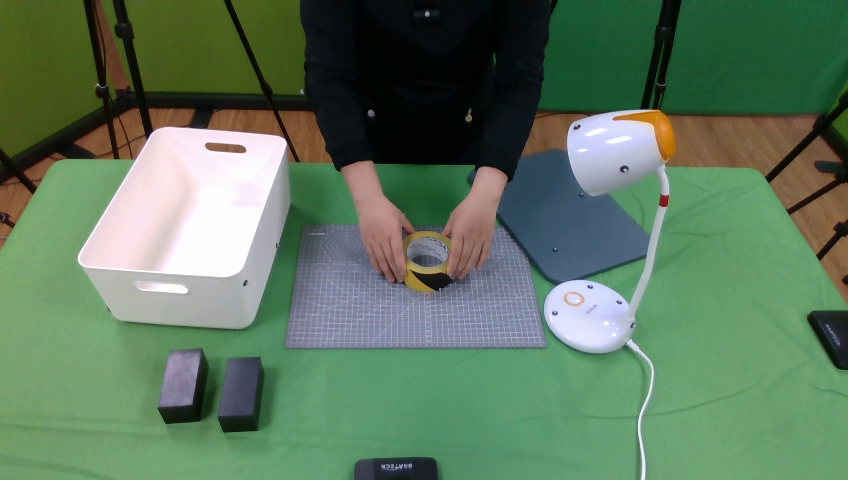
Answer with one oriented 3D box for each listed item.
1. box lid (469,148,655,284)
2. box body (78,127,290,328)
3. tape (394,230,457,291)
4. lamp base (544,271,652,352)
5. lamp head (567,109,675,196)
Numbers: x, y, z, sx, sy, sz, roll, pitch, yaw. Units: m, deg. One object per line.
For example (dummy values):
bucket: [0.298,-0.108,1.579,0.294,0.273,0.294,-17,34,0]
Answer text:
box lid: [0.285,-0.064,1.289,0.263,0.015,0.369,-16,49,-19]
box body: [-0.400,-0.027,1.095,0.254,0.161,0.362,4,46,0]
tape: [0.004,0.039,1.135,0.117,0.053,0.116,3,47,-3]
lamp base: [0.310,0.086,1.029,0.178,0.181,0.160,32,52,21]
lamp head: [0.272,-0.123,0.818,0.122,0.113,0.112,-9,35,37]
